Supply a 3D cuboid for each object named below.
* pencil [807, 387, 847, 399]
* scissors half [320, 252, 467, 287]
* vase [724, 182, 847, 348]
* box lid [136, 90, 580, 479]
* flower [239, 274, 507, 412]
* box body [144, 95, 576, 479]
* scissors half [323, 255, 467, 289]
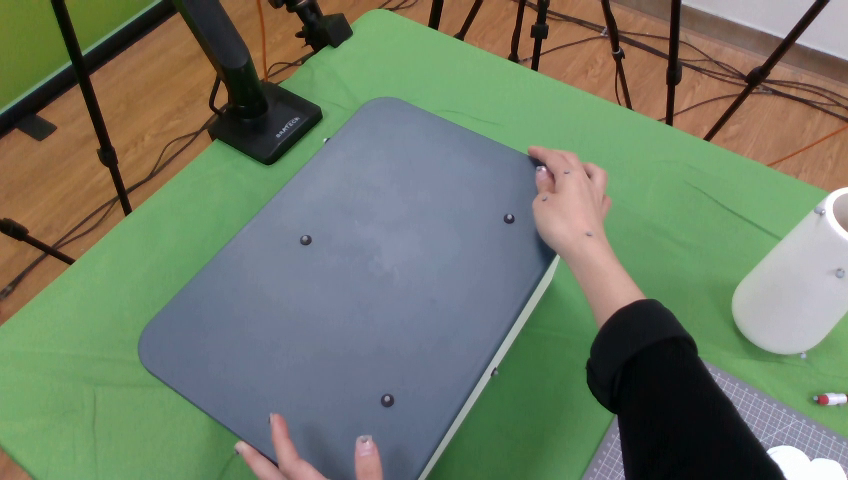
[{"bbox_3d":[0.497,0.153,0.634,0.194,0.012,0.012,-4,56,-3],"label":"pencil"},{"bbox_3d":[-0.036,0.028,0.712,0.175,0.040,0.012,5,25,3],"label":"scissors half"},{"bbox_3d":[0.380,0.029,0.606,0.098,0.202,0.097,-1,55,2],"label":"vase"},{"bbox_3d":[-0.044,0.019,0.550,0.262,0.015,0.370,28,63,17],"label":"box lid"},{"bbox_3d":[-0.036,0.100,0.692,0.362,0.044,0.038,-21,23,-33],"label":"flower"},{"bbox_3d":[-0.043,0.057,0.620,0.252,0.162,0.363,28,62,19],"label":"box body"},{"bbox_3d":[-0.035,0.041,0.718,0.175,0.040,0.013,-3,18,8],"label":"scissors half"}]
